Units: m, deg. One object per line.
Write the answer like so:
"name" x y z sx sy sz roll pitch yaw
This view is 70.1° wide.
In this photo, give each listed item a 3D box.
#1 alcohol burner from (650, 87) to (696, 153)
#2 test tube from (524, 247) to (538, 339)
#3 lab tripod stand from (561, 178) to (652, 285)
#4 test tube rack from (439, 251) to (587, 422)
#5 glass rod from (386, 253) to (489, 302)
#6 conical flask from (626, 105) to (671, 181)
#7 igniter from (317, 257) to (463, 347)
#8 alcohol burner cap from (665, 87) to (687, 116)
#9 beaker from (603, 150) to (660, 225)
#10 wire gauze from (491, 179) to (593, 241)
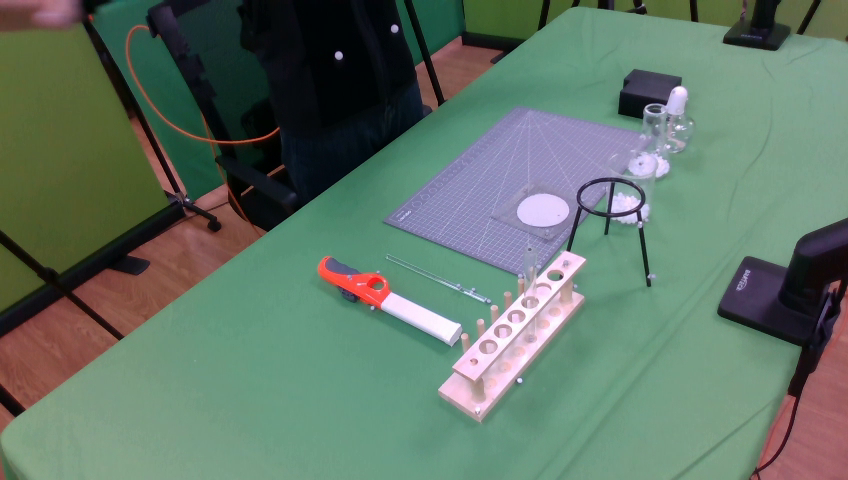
"alcohol burner" 0.448 -0.218 1.084 0.078 0.119 0.077 -6 38 5
"test tube" 0.133 0.070 0.749 0.017 0.151 0.017 -5 38 4
"lab tripod stand" 0.263 -0.014 0.864 0.148 0.132 0.147 -7 38 6
"test tube rack" 0.118 0.111 0.780 0.066 0.085 0.243 26 51 34
"glass rod" 0.016 0.055 0.927 0.198 0.008 0.008 23 50 32
"conical flask" 0.388 -0.168 1.031 0.075 0.122 0.075 -6 40 5
"igniter" -0.061 0.085 0.891 0.274 0.025 0.057 23 59 33
"alcohol burner cap" 0.445 -0.244 1.060 0.034 0.048 0.033 -2 45 3
"beaker" 0.324 -0.080 0.957 0.083 0.101 0.074 7 42 20
"wire gauze" 0.198 -0.051 1.014 0.125 0.011 0.120 -38 48 -27
